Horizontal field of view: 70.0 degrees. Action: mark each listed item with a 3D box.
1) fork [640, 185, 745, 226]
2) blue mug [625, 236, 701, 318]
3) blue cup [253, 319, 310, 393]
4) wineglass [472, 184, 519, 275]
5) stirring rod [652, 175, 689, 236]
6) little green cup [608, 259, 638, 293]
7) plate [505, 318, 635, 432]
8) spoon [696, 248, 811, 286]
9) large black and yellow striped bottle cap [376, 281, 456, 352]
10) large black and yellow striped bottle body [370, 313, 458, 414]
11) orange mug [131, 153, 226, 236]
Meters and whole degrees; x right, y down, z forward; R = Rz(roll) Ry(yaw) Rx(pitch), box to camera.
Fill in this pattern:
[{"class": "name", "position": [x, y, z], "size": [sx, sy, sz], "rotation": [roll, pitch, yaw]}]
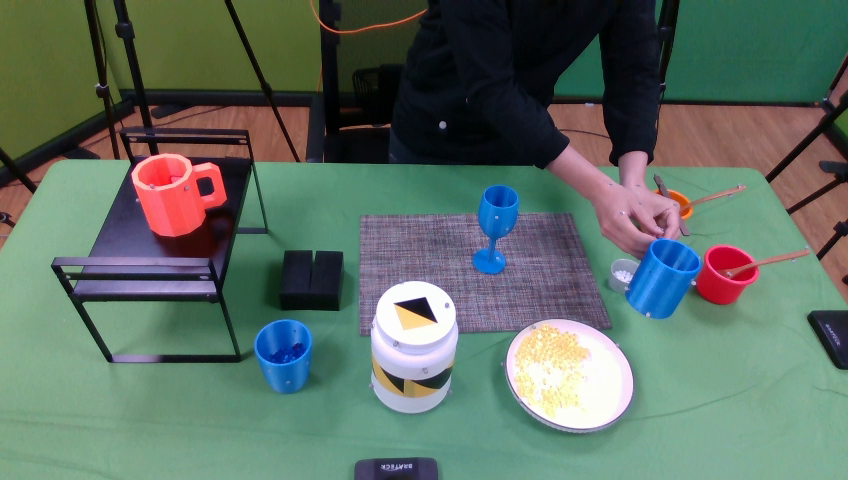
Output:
[{"class": "fork", "position": [0.534, -0.069, 1.215], "size": [0.207, 0.019, 0.028], "rotation": [-26, 28, 33]}, {"class": "blue mug", "position": [0.382, 0.051, 0.989], "size": [0.082, 0.106, 0.116], "rotation": [5, 40, -8]}, {"class": "blue cup", "position": [-0.217, 0.187, 0.943], "size": [0.093, 0.101, 0.092], "rotation": [4, 45, -3]}, {"class": "wineglass", "position": [0.129, -0.018, 1.112], "size": [0.074, 0.173, 0.073], "rotation": [2, 46, -2]}, {"class": "stirring rod", "position": [0.491, -0.072, 1.211], "size": [0.014, 0.006, 0.175], "rotation": [-1, 47, -6]}, {"class": "little green cup", "position": [0.379, 0.070, 1.147], "size": [0.061, 0.039, 0.061], "rotation": [3, 45, -2]}, {"class": "plate", "position": [0.235, 0.221, 0.991], "size": [0.209, 0.038, 0.208], "rotation": [2, 45, -2]}, {"class": "spoon", "position": [0.600, 0.048, 1.112], "size": [0.193, 0.022, 0.041], "rotation": [-25, 32, 35]}, {"class": "large black and yellow striped bottle cap", "position": [-0.011, 0.107, 0.863], "size": [0.115, 0.019, 0.114], "rotation": [2, 47, -2]}, {"class": "large black and yellow striped bottle body", "position": [-0.017, 0.165, 0.924], "size": [0.131, 0.185, 0.130], "rotation": [2, 46, -2]}, {"class": "orange mug", "position": [-0.375, -0.075, 0.937], "size": [0.126, 0.101, 0.083], "rotation": [-20, 50, -16]}]
